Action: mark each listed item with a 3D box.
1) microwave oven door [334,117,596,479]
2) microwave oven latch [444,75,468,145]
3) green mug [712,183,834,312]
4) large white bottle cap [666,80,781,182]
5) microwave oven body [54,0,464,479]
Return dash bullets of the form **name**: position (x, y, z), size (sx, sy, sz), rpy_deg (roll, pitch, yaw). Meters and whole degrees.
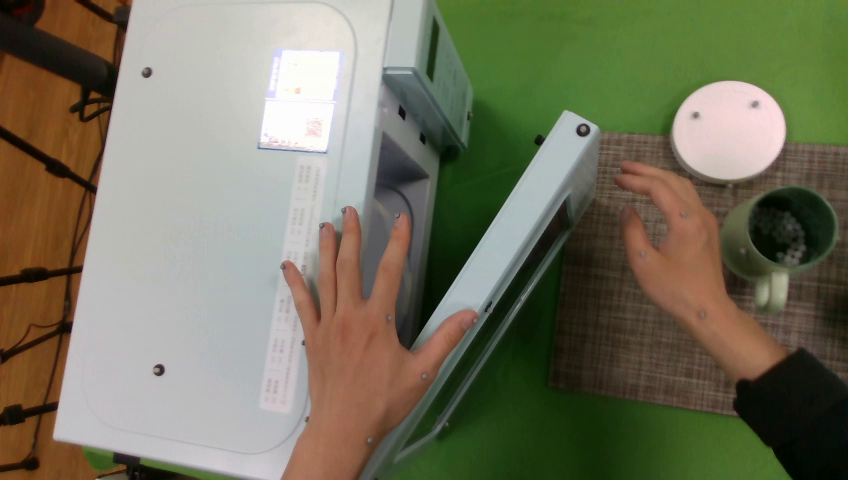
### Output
- **microwave oven door**: position (0.055, 0.071, 0.585), size (0.039, 0.245, 0.355), rpy_deg (33, 91, 17)
- **microwave oven latch**: position (0.036, -0.155, 0.725), size (0.030, 0.029, 0.079), rpy_deg (5, 85, 15)
- **green mug**: position (0.344, 0.010, 0.604), size (0.092, 0.105, 0.125), rpy_deg (5, 84, 15)
- **large white bottle cap**: position (0.329, -0.121, 0.669), size (0.114, 0.018, 0.114), rpy_deg (-3, 78, 14)
- **microwave oven body**: position (-0.152, -0.006, 0.652), size (0.325, 0.261, 0.440), rpy_deg (5, 84, 14)
